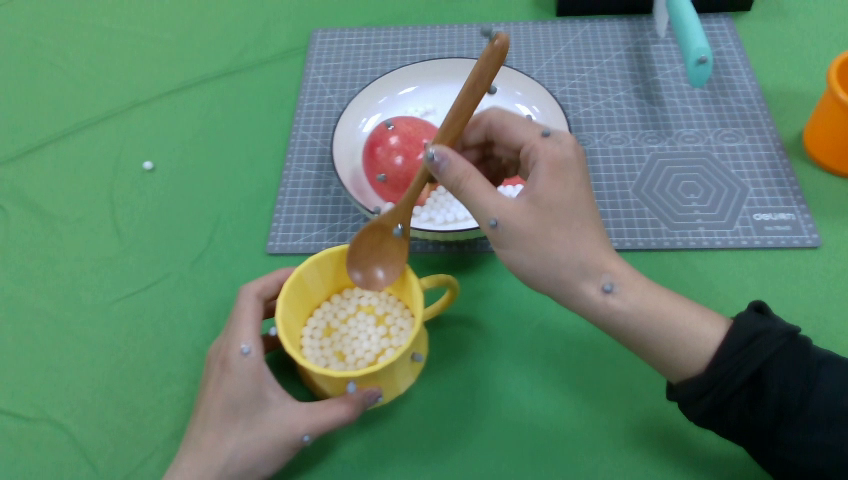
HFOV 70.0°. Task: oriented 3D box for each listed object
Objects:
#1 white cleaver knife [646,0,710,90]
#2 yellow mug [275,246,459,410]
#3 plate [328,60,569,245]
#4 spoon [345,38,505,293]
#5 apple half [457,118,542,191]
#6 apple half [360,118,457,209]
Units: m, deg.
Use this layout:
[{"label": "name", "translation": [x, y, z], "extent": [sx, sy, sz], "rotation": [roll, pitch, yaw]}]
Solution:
[{"label": "white cleaver knife", "translation": [0.244, -0.243, 0.614], "extent": [0.021, 0.066, 0.283], "rotation": [-3, 51, 9]}, {"label": "yellow mug", "translation": [-0.035, 0.057, 0.433], "extent": [0.131, 0.064, 0.099], "rotation": [-20, 61, -13]}, {"label": "plate", "translation": [0.021, -0.078, 0.537], "extent": [0.209, 0.038, 0.207], "rotation": [-2, 56, 3]}, {"label": "spoon", "translation": [-0.001, -0.035, 0.371], "extent": [0.041, 0.194, 0.021], "rotation": [34, 38, 1]}, {"label": "apple half", "translation": [0.065, -0.083, 0.528], "extent": [0.081, 0.033, 0.080], "rotation": [-2, 58, 4]}, {"label": "apple half", "translation": [-0.016, -0.073, 0.517], "extent": [0.081, 0.054, 0.074], "rotation": [-38, 58, -19]}]
